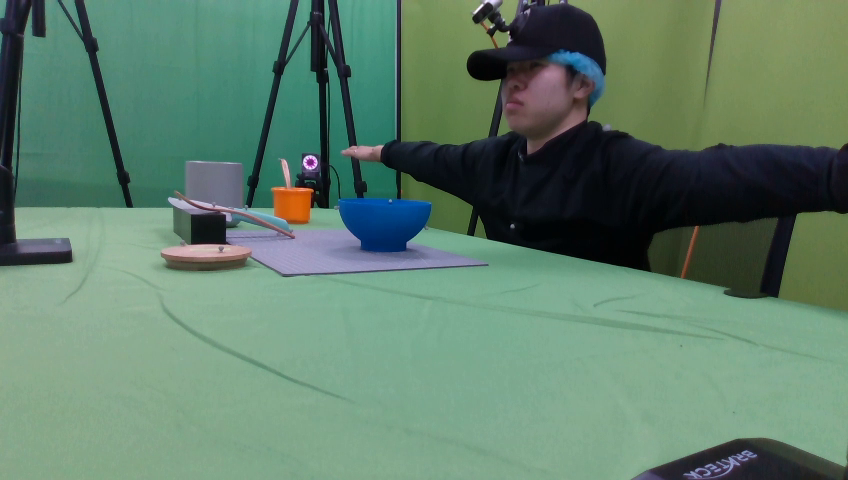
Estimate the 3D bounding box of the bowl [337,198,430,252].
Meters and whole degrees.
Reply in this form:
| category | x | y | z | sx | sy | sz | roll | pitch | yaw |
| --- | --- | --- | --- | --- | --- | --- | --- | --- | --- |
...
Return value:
| category | x | y | z | sx | sy | sz | roll | pitch | yaw |
| --- | --- | --- | --- | --- | --- | --- | --- | --- | --- |
| bowl | -0.066 | -0.024 | 0.967 | 0.151 | 0.077 | 0.151 | 2 | 7 | 0 |

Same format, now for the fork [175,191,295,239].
| category | x | y | z | sx | sy | sz | roll | pitch | yaw |
| --- | --- | --- | --- | --- | --- | --- | --- | --- | --- |
| fork | -0.305 | -0.039 | 0.993 | 0.208 | 0.018 | 0.028 | 19 | -9 | -34 |

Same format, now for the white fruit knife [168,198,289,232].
| category | x | y | z | sx | sy | sz | roll | pitch | yaw |
| --- | --- | --- | --- | --- | --- | --- | --- | --- | --- |
| white fruit knife | -0.329 | -0.044 | 1.036 | 0.208 | 0.027 | 0.016 | 14 | -1 | -32 |

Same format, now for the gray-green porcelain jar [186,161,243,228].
| category | x | y | z | sx | sy | sz | roll | pitch | yaw |
| --- | --- | --- | --- | --- | --- | --- | --- | --- | --- |
| gray-green porcelain jar | -0.412 | -0.090 | 1.193 | 0.106 | 0.126 | 0.106 | 2 | 7 | 0 |

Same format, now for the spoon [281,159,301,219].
| category | x | y | z | sx | sy | sz | roll | pitch | yaw |
| --- | --- | --- | --- | --- | --- | --- | --- | --- | --- |
| spoon | -0.307 | -0.117 | 1.368 | 0.042 | 0.193 | 0.021 | 1 | -37 | -23 |

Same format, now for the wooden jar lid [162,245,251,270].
| category | x | y | z | sx | sy | sz | roll | pitch | yaw |
| --- | --- | --- | --- | --- | --- | --- | --- | --- | --- |
| wooden jar lid | -0.278 | 0.022 | 0.777 | 0.108 | 0.020 | 0.108 | 2 | 6 | 0 |
